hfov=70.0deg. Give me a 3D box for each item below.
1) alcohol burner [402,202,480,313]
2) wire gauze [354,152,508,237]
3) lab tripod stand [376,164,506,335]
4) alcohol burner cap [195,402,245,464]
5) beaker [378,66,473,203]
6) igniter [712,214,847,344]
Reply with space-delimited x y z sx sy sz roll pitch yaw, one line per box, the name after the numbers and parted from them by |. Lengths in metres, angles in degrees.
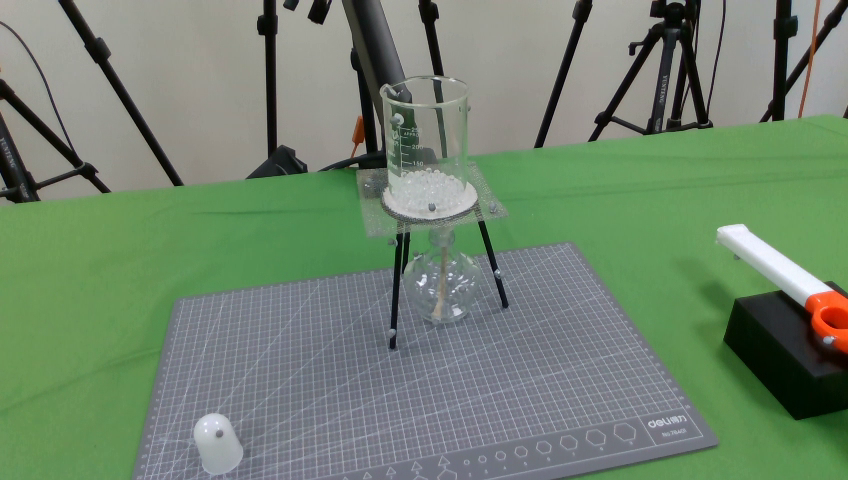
0.017 0.013 0.589 0.078 0.120 0.077 0 36 1 | alcohol burner
0.001 -0.049 0.546 0.121 0.011 0.123 -8 37 -7 | wire gauze
0.008 0.003 0.586 0.148 0.132 0.147 -1 33 1 | lab tripod stand
-0.159 0.146 0.469 0.034 0.048 0.033 -1 35 1 | alcohol burner cap
-0.001 -0.090 0.520 0.074 0.101 0.083 -30 42 -35 | beaker
0.340 0.049 0.513 0.057 0.025 0.273 -9 31 -8 | igniter
